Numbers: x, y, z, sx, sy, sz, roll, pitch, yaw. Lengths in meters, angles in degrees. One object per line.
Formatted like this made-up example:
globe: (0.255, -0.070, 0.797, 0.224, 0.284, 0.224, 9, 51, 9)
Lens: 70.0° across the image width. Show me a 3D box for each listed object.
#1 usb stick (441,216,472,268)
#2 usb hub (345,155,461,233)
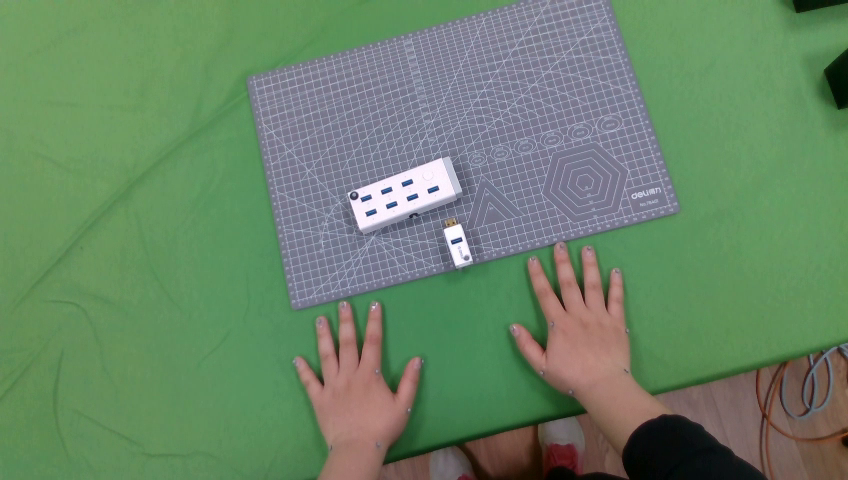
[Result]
usb stick: (0.034, 0.000, 0.676, 0.021, 0.027, 0.059, -19, 75, 6)
usb hub: (-0.024, -0.053, 0.692, 0.125, 0.025, 0.049, -20, 77, 1)
